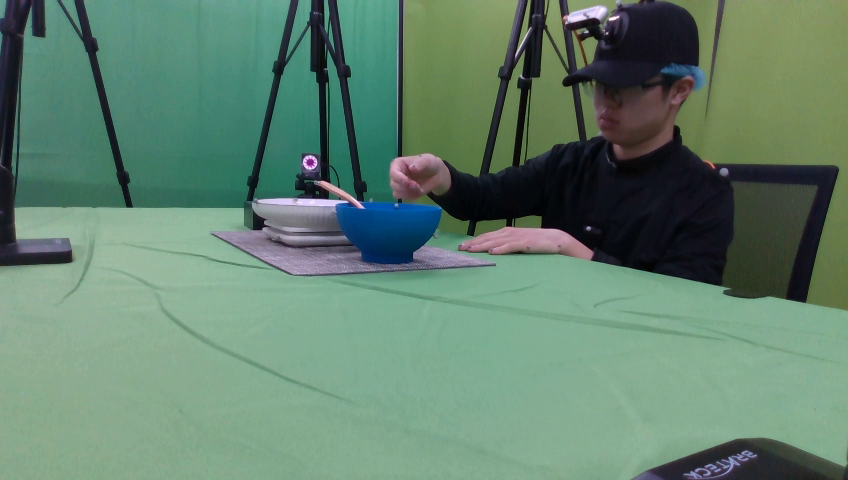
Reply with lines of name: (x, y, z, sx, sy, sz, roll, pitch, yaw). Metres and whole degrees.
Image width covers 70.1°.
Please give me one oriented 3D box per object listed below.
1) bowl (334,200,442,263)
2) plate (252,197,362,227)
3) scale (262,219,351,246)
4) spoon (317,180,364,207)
bowl: (-0.051, -0.012, 0.849, 0.151, 0.077, 0.151, 2, 7, 0)
plate: (-0.179, -0.047, 1.012, 0.209, 0.038, 0.209, 2, 6, 0)
scale: (-0.160, -0.015, 1.027, 0.202, 0.031, 0.148, -2, 8, -32)
spoon: (-0.100, -0.051, 0.875, 0.042, 0.021, 0.192, -12, 37, -38)
